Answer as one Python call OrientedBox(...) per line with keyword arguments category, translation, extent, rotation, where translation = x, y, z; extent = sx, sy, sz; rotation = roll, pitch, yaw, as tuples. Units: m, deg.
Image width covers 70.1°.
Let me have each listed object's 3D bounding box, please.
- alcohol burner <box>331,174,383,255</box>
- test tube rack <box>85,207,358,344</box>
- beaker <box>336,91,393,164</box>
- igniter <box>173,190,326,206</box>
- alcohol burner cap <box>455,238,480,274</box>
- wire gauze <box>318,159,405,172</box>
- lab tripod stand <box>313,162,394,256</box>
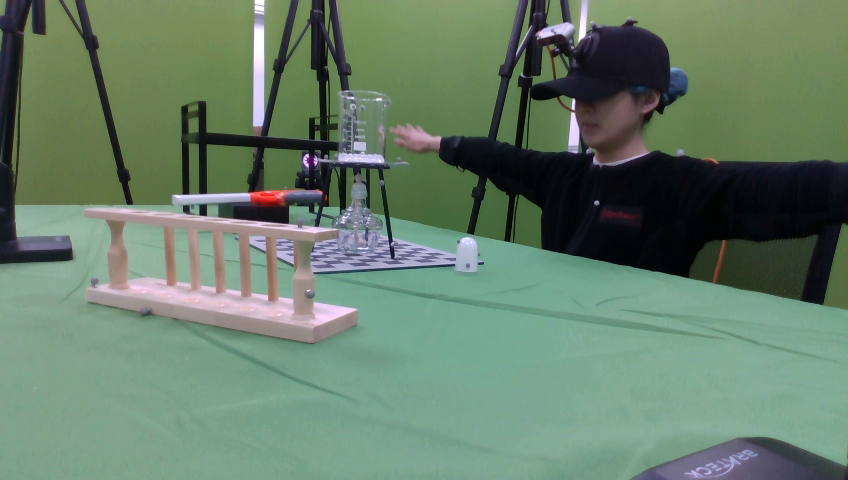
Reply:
OrientedBox(category="alcohol burner", translation=(-0.098, -0.038, 0.895), extent=(0.078, 0.119, 0.078), rotation=(4, 9, 0))
OrientedBox(category="test tube rack", translation=(-0.177, 0.022, 0.518), extent=(0.241, 0.085, 0.067), rotation=(6, 7, 23))
OrientedBox(category="beaker", translation=(-0.087, -0.160, 0.878), extent=(0.084, 0.100, 0.073), rotation=(0, 6, -24))
OrientedBox(category="igniter", translation=(-0.317, -0.079, 1.128), extent=(0.278, 0.025, 0.057), rotation=(-4, 13, -32))
OrientedBox(category="alcohol burner cap", translation=(0.058, 0.022, 0.798), extent=(0.034, 0.048, 0.034), rotation=(3, 6, 0))
OrientedBox(category="wire gauze", translation=(-0.091, -0.112, 0.887), extent=(0.122, 0.011, 0.124), rotation=(3, 3, -15))
OrientedBox(category="lab tripod stand", translation=(-0.098, -0.048, 0.897), extent=(0.148, 0.131, 0.148), rotation=(1, 6, 0))
